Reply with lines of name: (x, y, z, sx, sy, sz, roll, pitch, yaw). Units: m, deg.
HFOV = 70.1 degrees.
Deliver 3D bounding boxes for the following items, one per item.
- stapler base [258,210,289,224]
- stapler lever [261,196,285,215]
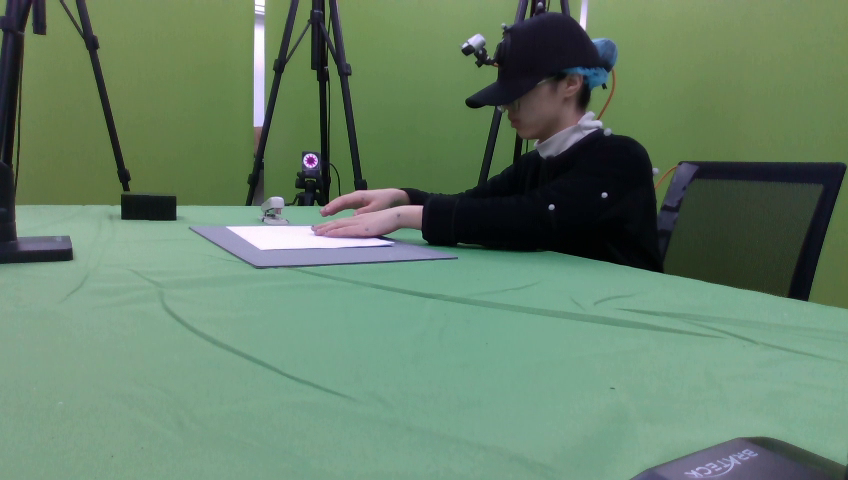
stapler base: (-0.323, -0.051, 1.295, 0.041, 0.024, 0.130, 2, 5, -27)
stapler lever: (-0.323, -0.076, 1.293, 0.027, 0.040, 0.117, 2, 6, -27)
